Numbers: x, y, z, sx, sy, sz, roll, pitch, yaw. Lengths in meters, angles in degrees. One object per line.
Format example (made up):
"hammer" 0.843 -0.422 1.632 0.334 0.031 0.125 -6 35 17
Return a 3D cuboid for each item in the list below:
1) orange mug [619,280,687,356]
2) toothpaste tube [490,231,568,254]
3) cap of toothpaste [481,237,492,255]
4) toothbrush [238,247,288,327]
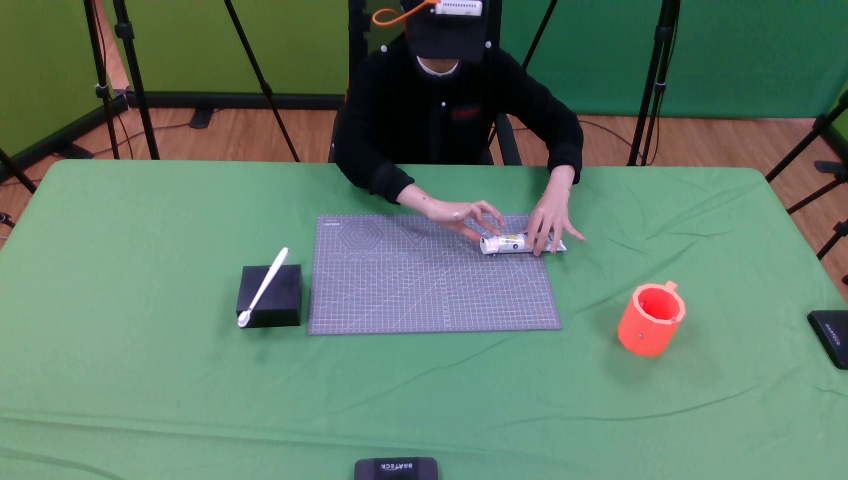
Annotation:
"orange mug" 0.401 0.125 1.045 0.083 0.101 0.126 30 56 24
"toothpaste tube" 0.201 0.006 1.195 0.165 0.035 0.054 -5 50 -14
"cap of toothpaste" 0.122 0.010 1.176 0.011 0.037 0.037 -14 49 -16
"toothbrush" -0.274 0.075 1.040 0.014 0.017 0.181 11 46 11
